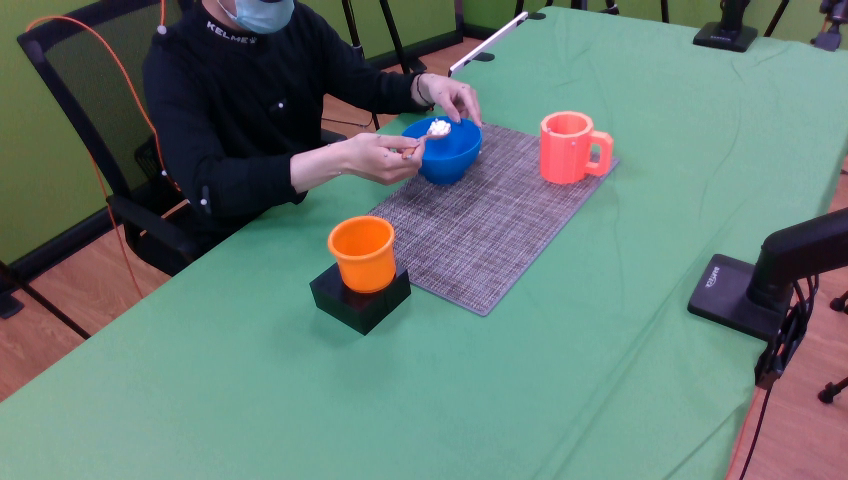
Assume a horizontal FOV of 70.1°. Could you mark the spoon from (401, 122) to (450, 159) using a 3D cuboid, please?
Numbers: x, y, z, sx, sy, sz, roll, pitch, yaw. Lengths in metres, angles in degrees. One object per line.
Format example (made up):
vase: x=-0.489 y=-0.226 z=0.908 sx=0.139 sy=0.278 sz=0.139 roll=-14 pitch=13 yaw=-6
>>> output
spoon: x=0.000 y=-0.167 z=1.001 sx=0.041 sy=0.021 sz=0.194 roll=14 pitch=25 yaw=16

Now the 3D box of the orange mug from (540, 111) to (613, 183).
orange mug: x=0.263 y=-0.159 z=1.052 sx=0.125 sy=0.101 sz=0.083 roll=13 pitch=45 yaw=29

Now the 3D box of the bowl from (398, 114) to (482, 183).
bowl: x=0.032 y=-0.156 z=1.097 sx=0.151 sy=0.077 sz=0.150 roll=-4 pitch=41 yaw=4
